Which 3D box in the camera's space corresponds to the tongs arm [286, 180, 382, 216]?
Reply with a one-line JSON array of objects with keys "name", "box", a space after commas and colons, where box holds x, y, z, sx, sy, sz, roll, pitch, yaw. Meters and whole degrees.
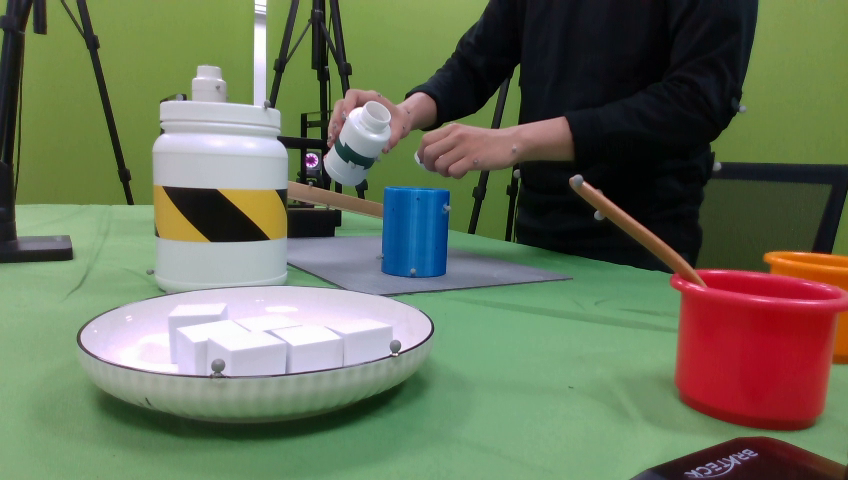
[{"name": "tongs arm", "box": [-0.122, -0.066, 1.147, 0.387, 0.026, 0.050, 11, -2, -37]}]

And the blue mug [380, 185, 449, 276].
[{"name": "blue mug", "box": [-0.018, -0.016, 0.764, 0.083, 0.106, 0.116, -1, 8, -25]}]

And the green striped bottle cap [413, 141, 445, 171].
[{"name": "green striped bottle cap", "box": [0.007, -0.119, 0.861, 0.044, 0.020, 0.044, 23, 38, -19]}]

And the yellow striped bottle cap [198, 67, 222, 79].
[{"name": "yellow striped bottle cap", "box": [-0.411, -0.320, 1.163, 0.044, 0.018, 0.044, 0, 6, 0]}]

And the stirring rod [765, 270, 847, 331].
[{"name": "stirring rod", "box": [0.352, 0.020, 0.484, 0.176, 0.006, 0.014, -40, -7, 12]}]

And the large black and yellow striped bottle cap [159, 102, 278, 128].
[{"name": "large black and yellow striped bottle cap", "box": [-0.207, -0.125, 0.615, 0.115, 0.019, 0.115, 2, 6, 0]}]

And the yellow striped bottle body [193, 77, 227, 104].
[{"name": "yellow striped bottle body", "box": [-0.414, -0.268, 1.169, 0.063, 0.120, 0.063, 2, 7, 0]}]

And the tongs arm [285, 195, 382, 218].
[{"name": "tongs arm", "box": [-0.165, -0.074, 1.216, 0.389, 0.027, 0.028, 11, -6, -24]}]

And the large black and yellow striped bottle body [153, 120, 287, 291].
[{"name": "large black and yellow striped bottle body", "box": [-0.208, -0.043, 0.626, 0.131, 0.184, 0.130, 2, 7, 0]}]

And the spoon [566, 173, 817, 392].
[{"name": "spoon", "box": [0.161, 0.024, 0.370, 0.193, 0.021, 0.042, 47, 18, 3]}]

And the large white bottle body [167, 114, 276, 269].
[{"name": "large white bottle body", "box": [-0.256, -0.063, 0.772, 0.131, 0.184, 0.130, 2, 7, 0]}]

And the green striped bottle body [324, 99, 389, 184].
[{"name": "green striped bottle body", "box": [-0.090, -0.138, 0.837, 0.063, 0.063, 0.119, -3, -35, -36]}]

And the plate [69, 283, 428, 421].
[{"name": "plate", "box": [-0.102, 0.066, 0.381, 0.208, 0.039, 0.207, 2, 7, 0]}]

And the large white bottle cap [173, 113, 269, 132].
[{"name": "large white bottle cap", "box": [-0.254, -0.146, 0.760, 0.115, 0.018, 0.115, 1, 7, 0]}]

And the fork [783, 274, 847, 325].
[{"name": "fork", "box": [0.332, 0.018, 0.443, 0.028, 0.018, 0.207, -1, -36, -15]}]
